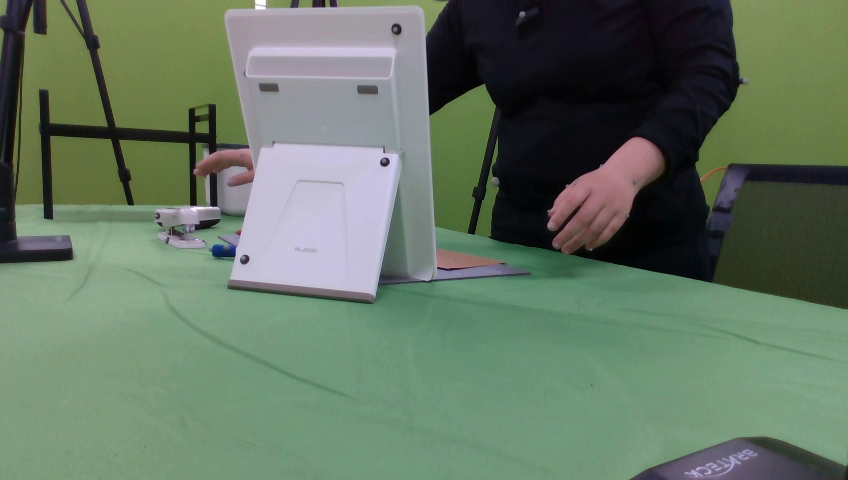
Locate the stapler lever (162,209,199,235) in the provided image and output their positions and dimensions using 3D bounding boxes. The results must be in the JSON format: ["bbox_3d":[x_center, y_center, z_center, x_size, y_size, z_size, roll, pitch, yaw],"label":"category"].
[{"bbox_3d":[-0.376,-0.031,0.933,0.027,0.040,0.117,0,7,-38],"label":"stapler lever"}]

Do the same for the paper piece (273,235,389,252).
[{"bbox_3d":[-0.151,0.003,0.978,0.135,0.008,0.139,13,10,35],"label":"paper piece"}]

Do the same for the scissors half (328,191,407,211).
[{"bbox_3d":[-0.123,-0.091,1.318,0.175,0.040,0.013,6,10,-3],"label":"scissors half"}]

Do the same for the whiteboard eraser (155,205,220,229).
[{"bbox_3d":[-0.428,-0.041,1.100,0.055,0.042,0.113,7,8,20],"label":"whiteboard eraser"}]

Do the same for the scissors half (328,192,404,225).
[{"bbox_3d":[-0.127,-0.072,1.321,0.175,0.040,0.013,22,4,-5],"label":"scissors half"}]

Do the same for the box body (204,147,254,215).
[{"bbox_3d":[-0.347,-0.152,1.519,0.366,0.160,0.253,-2,9,-31],"label":"box body"}]

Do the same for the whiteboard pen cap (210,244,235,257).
[{"bbox_3d":[-0.266,0.014,0.806,0.033,0.018,0.018,2,7,-1],"label":"whiteboard pen cap"}]

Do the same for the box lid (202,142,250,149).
[{"bbox_3d":[-0.345,-0.225,1.509,0.373,0.015,0.262,-2,8,-31],"label":"box lid"}]

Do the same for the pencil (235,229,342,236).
[{"bbox_3d":[-0.230,-0.012,1.051,0.195,0.012,0.012,0,7,-34],"label":"pencil"}]

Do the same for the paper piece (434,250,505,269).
[{"bbox_3d":[0.025,0.026,0.865,0.134,0.004,0.136,9,9,43],"label":"paper piece"}]

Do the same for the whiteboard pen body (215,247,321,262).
[{"bbox_3d":[-0.208,0.018,0.805,0.141,0.017,0.017,3,7,2],"label":"whiteboard pen body"}]

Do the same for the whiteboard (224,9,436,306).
[{"bbox_3d":[-0.117,-0.065,0.617,0.217,0.305,0.144,5,29,16],"label":"whiteboard"}]

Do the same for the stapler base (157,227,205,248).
[{"bbox_3d":[-0.376,-0.007,0.935,0.041,0.024,0.130,1,6,-38],"label":"stapler base"}]
